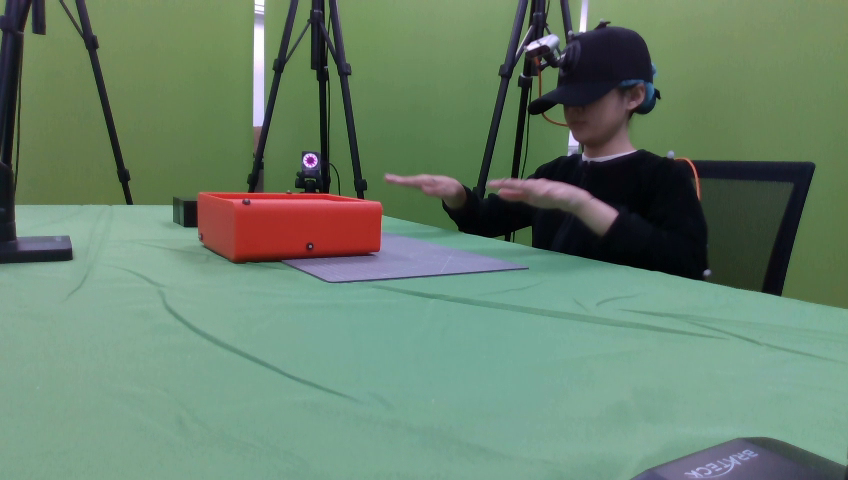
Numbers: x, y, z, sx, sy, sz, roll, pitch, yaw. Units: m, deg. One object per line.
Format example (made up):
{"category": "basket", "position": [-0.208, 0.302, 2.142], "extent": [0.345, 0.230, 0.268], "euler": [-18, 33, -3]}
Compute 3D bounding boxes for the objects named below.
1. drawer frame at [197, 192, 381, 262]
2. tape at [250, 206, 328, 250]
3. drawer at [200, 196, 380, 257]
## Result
{"category": "drawer frame", "position": [-0.202, -0.026, 0.892], "extent": [0.215, 0.082, 0.200], "euler": [-3, 10, -34]}
{"category": "tape", "position": [-0.202, -0.019, 0.902], "extent": [0.117, 0.052, 0.117], "euler": [3, 8, 0]}
{"category": "drawer", "position": [-0.200, -0.024, 0.893], "extent": [0.213, 0.073, 0.193], "euler": [-3, 10, -33]}
